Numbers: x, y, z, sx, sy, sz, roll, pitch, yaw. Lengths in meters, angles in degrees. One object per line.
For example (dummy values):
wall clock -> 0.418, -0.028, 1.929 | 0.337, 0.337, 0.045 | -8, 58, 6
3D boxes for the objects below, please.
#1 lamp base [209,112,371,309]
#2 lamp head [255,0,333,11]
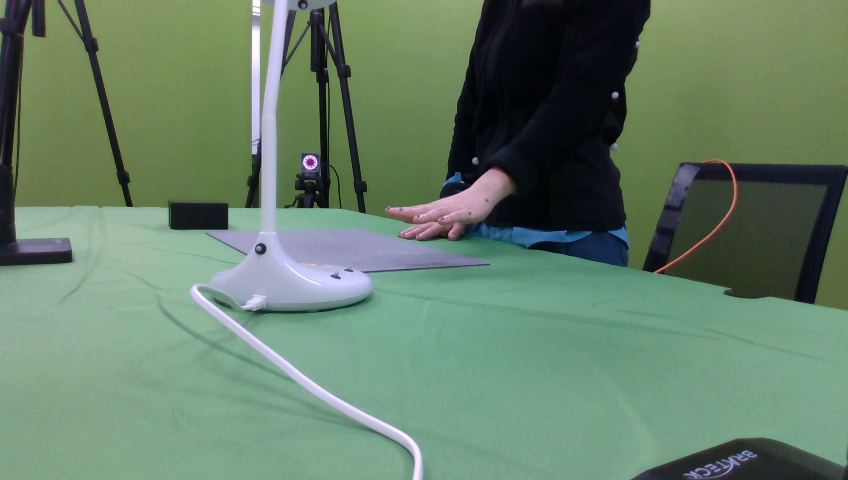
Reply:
lamp base -> -0.133, -0.032, 0.594 | 0.160, 0.180, 0.179 | 2, 10, 3
lamp head -> -0.141, -0.318, 0.630 | 0.113, 0.112, 0.123 | 1, -32, -9
